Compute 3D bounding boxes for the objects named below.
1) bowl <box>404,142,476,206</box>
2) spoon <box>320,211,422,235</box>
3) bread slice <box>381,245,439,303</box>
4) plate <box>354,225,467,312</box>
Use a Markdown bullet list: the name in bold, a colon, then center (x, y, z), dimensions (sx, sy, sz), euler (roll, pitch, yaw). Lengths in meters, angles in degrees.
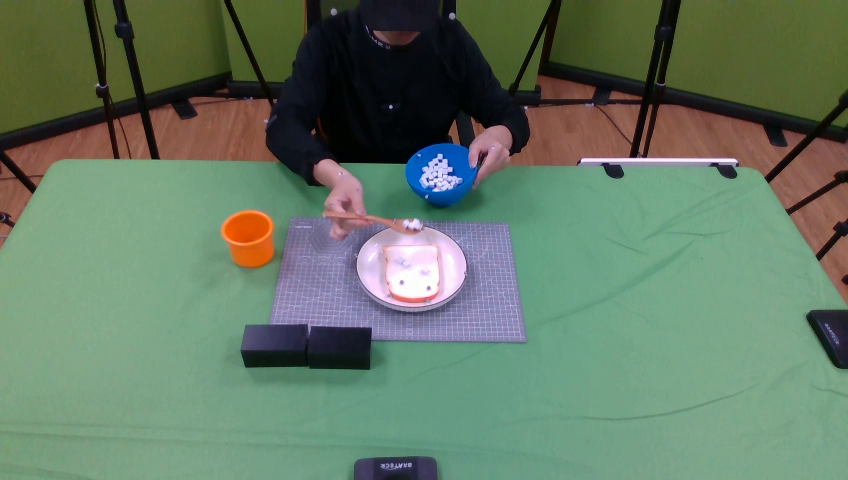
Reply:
- **bowl**: center (0.037, -0.125, 1.260), dimensions (0.151, 0.077, 0.150), euler (-5, 49, 6)
- **spoon**: center (-0.093, -0.036, 1.092), dimensions (0.194, 0.022, 0.041), euler (11, 43, -26)
- **bread slice**: center (-0.022, 0.061, 1.126), dimensions (0.107, 0.018, 0.133), euler (-3, 45, -8)
- **plate**: center (-0.025, 0.055, 1.128), dimensions (0.209, 0.038, 0.208), euler (3, 46, -2)
